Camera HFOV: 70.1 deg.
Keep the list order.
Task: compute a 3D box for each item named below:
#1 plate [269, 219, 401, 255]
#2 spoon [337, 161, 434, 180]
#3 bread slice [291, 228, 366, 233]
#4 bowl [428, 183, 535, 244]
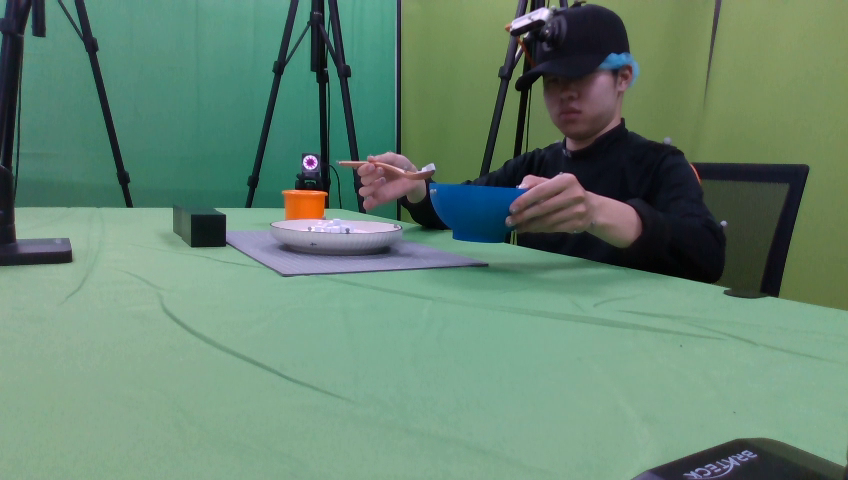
[{"bbox_3d":[-0.140,-0.006,0.958,0.209,0.038,0.209,3,7,0],"label":"plate"},{"bbox_3d":[-0.069,-0.122,1.022,0.193,0.021,0.042,14,16,29],"label":"spoon"},{"bbox_3d":[-0.143,-0.003,0.953,0.135,0.018,0.106,-1,8,-37],"label":"bread slice"},{"bbox_3d":[0.077,-0.037,0.847,0.151,0.077,0.151,4,5,0],"label":"bowl"}]
